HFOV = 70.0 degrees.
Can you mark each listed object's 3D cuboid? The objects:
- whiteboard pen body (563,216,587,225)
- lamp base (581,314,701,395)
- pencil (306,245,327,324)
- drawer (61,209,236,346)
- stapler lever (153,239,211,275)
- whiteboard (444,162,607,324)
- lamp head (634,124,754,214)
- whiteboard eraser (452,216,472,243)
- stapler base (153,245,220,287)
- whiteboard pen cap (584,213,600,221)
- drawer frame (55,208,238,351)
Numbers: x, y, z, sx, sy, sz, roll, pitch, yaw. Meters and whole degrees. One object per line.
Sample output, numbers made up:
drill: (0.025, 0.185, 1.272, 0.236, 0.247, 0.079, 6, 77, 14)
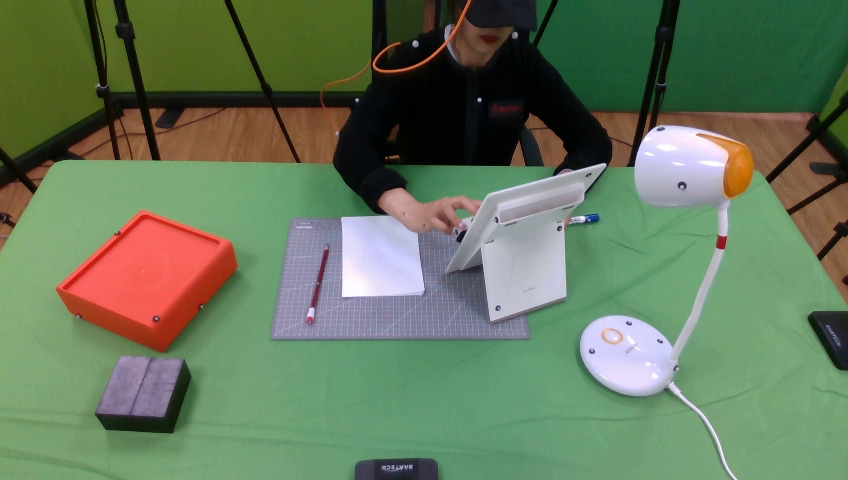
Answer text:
whiteboard pen body: (0.292, -0.039, 1.261, 0.141, 0.017, 0.017, -6, 47, -10)
lamp base: (0.361, 0.145, 0.973, 0.178, 0.181, 0.160, 34, 53, 23)
pencil: (-0.196, 0.076, 1.115, 0.012, 0.012, 0.193, 4, 44, 0)
drawer: (-0.474, 0.061, 1.062, 0.194, 0.073, 0.211, 19, 48, 13)
stapler lever: (-0.435, 0.027, 1.090, 0.118, 0.040, 0.027, 25, 50, 14)
whiteboard: (0.186, 0.026, 1.029, 0.217, 0.306, 0.143, -15, 68, -18)
lamp head: (0.351, -0.089, 0.776, 0.112, 0.113, 0.122, -30, 30, -28)
whiteboard eraser: (0.108, -0.026, 1.062, 0.113, 0.056, 0.041, -18, 77, -14)
stapler base: (-0.435, 0.042, 1.108, 0.130, 0.024, 0.041, 23, 50, 15)
whiteboard pen cap: (0.351, -0.048, 1.271, 0.033, 0.018, 0.018, -7, 47, -11)
drawer frame: (-0.474, 0.062, 1.059, 0.201, 0.083, 0.213, 18, 48, 12)
